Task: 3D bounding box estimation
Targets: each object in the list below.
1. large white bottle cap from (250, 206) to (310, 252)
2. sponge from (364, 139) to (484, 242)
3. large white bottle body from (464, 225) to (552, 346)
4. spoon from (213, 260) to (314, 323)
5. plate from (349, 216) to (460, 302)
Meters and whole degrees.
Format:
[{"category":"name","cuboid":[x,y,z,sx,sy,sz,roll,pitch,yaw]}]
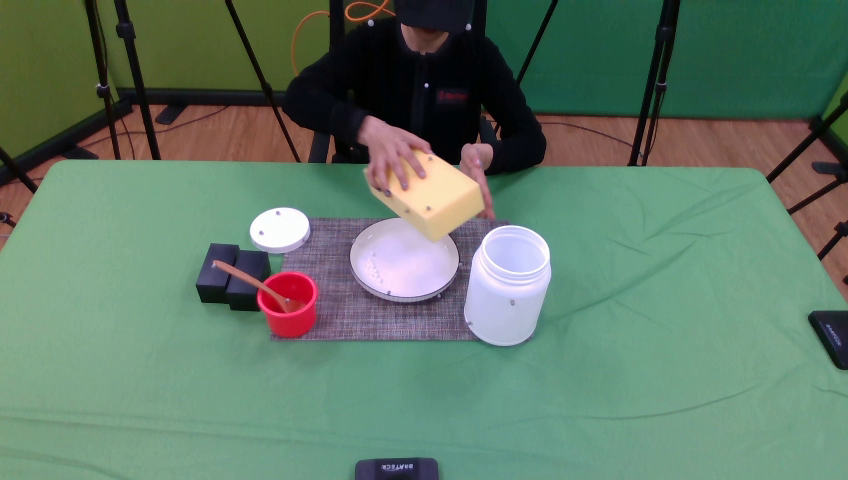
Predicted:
[{"category":"large white bottle cap","cuboid":[-0.284,-0.023,1.198,0.115,0.018,0.114,1,46,0]},{"category":"sponge","cuboid":[-0.003,-0.095,1.102,0.118,0.061,0.205,-35,47,-17]},{"category":"large white bottle body","cuboid":[0.141,0.076,1.017,0.131,0.185,0.130,2,46,-2]},{"category":"spoon","cuboid":[-0.264,0.083,1.009,0.195,0.021,0.041,40,39,-28]},{"category":"plate","cuboid":[-0.038,0.038,1.142,0.209,0.038,0.208,2,46,-2]}]
